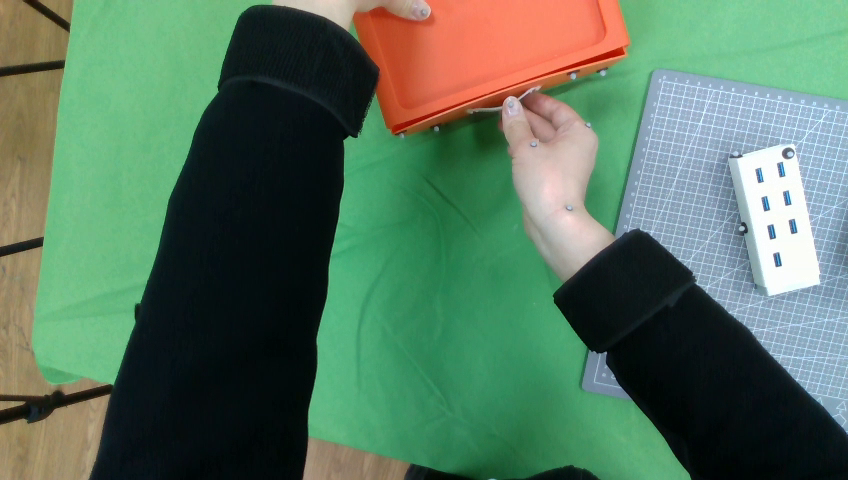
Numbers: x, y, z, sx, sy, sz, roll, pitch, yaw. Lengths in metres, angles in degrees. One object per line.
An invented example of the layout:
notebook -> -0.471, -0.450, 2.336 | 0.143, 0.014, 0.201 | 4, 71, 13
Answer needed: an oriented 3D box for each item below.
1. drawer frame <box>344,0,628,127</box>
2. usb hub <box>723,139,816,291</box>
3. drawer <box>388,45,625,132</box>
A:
drawer frame -> 0.032, -0.222, 0.492 | 0.201, 0.082, 0.214 | -18, 96, 7
usb hub -> 0.303, -0.021, 0.529 | 0.049, 0.025, 0.125 | -15, 98, 5
drawer -> 0.036, -0.216, 0.495 | 0.194, 0.073, 0.212 | -17, 96, 8
